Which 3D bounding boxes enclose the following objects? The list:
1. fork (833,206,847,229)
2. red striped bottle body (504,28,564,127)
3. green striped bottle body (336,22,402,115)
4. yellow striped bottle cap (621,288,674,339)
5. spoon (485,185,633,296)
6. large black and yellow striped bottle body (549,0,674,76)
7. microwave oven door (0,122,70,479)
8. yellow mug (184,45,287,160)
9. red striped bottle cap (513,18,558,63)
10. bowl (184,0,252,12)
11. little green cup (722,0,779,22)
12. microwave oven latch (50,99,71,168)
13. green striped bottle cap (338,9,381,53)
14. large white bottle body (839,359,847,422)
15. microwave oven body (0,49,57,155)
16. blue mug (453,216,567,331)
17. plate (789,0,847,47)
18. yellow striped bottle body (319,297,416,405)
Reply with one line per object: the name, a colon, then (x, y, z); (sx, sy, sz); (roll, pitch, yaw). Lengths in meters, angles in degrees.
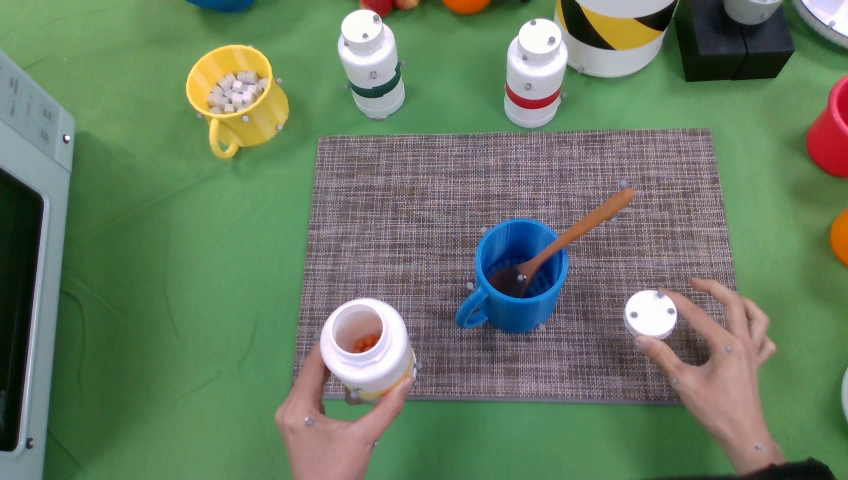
fork: (0.471, 0.003, 0.541); (0.028, 0.019, 0.205); (-37, 26, -9)
red striped bottle body: (0.118, -0.182, 0.660); (0.063, 0.120, 0.062); (-3, 67, 7)
green striped bottle body: (-0.062, -0.199, 0.683); (0.063, 0.120, 0.062); (-1, 68, 4)
yellow striped bottle cap: (0.201, 0.066, 0.546); (0.044, 0.019, 0.044); (-5, 64, 11)
spoon: (0.112, 0.010, 0.543); (0.022, 0.194, 0.041); (-1, 61, -34)
large black and yellow striped bottle body: (0.209, -0.284, 0.658); (0.131, 0.185, 0.130); (-2, 68, 5)
microwave oven door: (-0.416, 0.041, 0.534); (0.039, 0.245, 0.353); (-9, 68, 2)
yellow mug: (-0.224, -0.155, 0.708); (0.100, 0.064, 0.130); (9, 70, 8)
red striped bottle cap: (0.113, -0.202, 0.611); (0.044, 0.018, 0.044); (0, 67, 1)
bowl: (-0.264, -0.351, 0.782); (0.151, 0.077, 0.150); (-1, 69, 4)
little green cup: (0.360, -0.272, 0.663); (0.061, 0.039, 0.061); (-1, 66, 2)
microwave oven latch: (-0.435, -0.123, 0.709); (0.030, 0.030, 0.078); (-8, 69, 1)
green striped bottle cap: (-0.068, -0.219, 0.634); (0.044, 0.020, 0.044); (-1, 68, 3)
large white bottle body: (0.442, 0.119, 0.478); (0.130, 0.186, 0.129); (-2, 68, 4)
microwave oven body: (-0.565, 0.027, 0.558); (0.326, 0.262, 0.438); (-9, 69, 1)
blue mug: (0.076, 0.045, 0.579); (0.116, 0.106, 0.081); (-35, 69, -9)
plate: (0.529, -0.303, 0.716); (0.209, 0.038, 0.207); (-2, 69, 4)
yellow striped bottle body: (-0.042, 0.084, 0.460); (0.063, 0.121, 0.062); (-1, 65, 3)
